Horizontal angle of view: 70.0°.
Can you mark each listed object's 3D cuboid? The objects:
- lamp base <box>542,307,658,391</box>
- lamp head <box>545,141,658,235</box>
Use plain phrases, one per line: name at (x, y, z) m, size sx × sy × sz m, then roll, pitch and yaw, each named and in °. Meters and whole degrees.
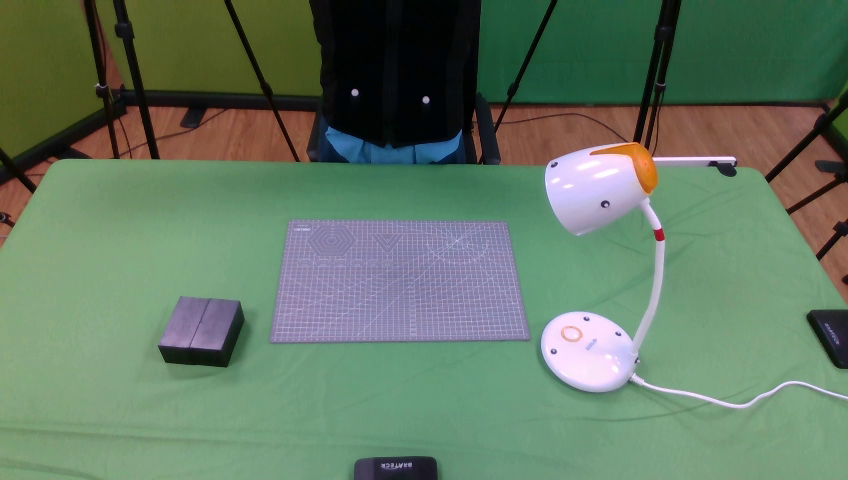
lamp base at (0.296, 0.138, 0.975) m, size 0.178 × 0.181 × 0.160 m, roll 28°, pitch 51°, yaw 18°
lamp head at (0.237, -0.072, 0.784) m, size 0.123 × 0.113 × 0.112 m, roll -16°, pitch 33°, yaw 37°
